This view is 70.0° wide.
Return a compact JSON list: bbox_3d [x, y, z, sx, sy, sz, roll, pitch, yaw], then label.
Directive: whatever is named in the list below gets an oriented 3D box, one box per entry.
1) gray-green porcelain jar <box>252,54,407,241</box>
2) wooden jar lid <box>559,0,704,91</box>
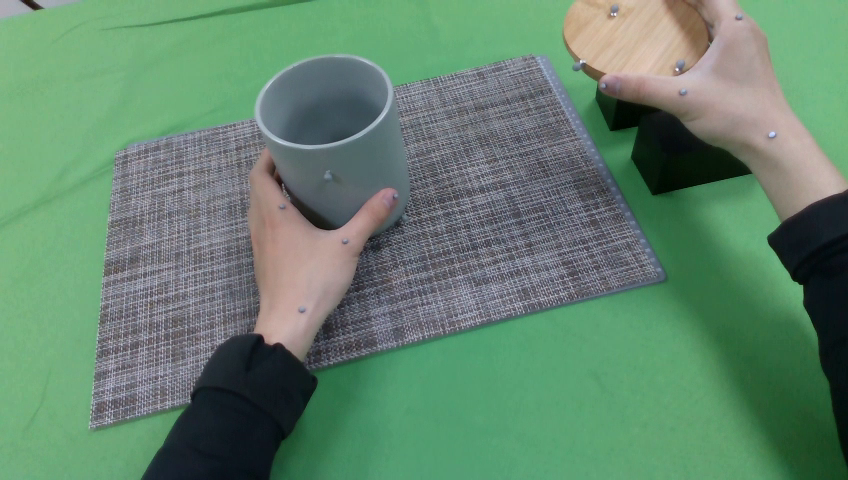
[{"bbox_3d":[-0.070,-0.069,0.501,0.106,0.128,0.105,-3,54,5],"label":"gray-green porcelain jar"},{"bbox_3d":[0.159,-0.156,0.470,0.108,0.021,0.107,-1,60,2],"label":"wooden jar lid"}]
